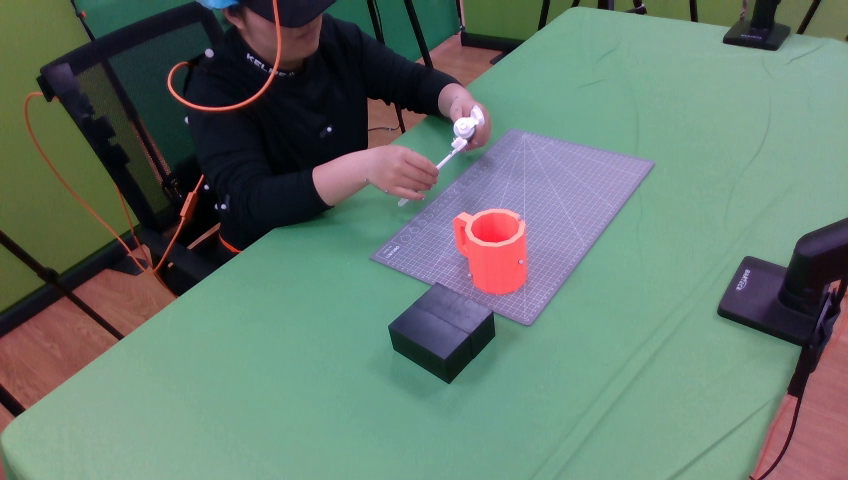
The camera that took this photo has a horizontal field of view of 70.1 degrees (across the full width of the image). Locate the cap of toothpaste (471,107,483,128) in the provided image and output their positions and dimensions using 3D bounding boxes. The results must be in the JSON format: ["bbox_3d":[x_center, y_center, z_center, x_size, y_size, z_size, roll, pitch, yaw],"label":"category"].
[{"bbox_3d":[0.087,-0.200,0.993,0.011,0.037,0.037,-18,41,-8],"label":"cap of toothpaste"}]

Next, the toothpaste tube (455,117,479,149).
[{"bbox_3d":[0.077,-0.193,1.083,0.055,0.165,0.034,-41,86,4],"label":"toothpaste tube"}]

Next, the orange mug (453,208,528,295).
[{"bbox_3d":[0.095,0.009,0.894,0.125,0.101,0.084,32,55,33],"label":"orange mug"}]

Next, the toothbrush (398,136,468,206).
[{"bbox_3d":[0.010,-0.111,1.004,0.017,0.181,0.014,29,40,-23],"label":"toothbrush"}]
